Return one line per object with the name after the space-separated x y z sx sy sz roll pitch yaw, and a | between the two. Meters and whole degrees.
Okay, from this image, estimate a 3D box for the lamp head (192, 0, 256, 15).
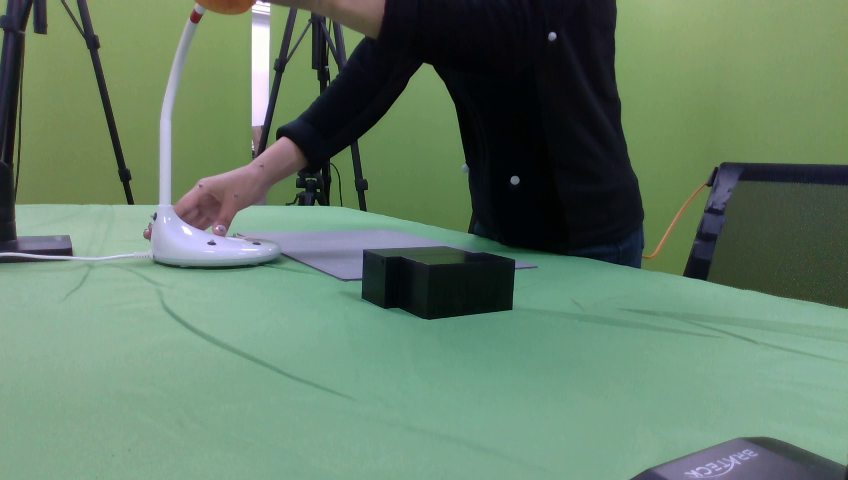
-0.205 -0.292 0.609 0.112 0.122 0.112 4 -5 1 | lamp head

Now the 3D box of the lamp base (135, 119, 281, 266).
-0.278 -0.062 0.775 0.160 0.180 0.180 7 11 45 | lamp base
